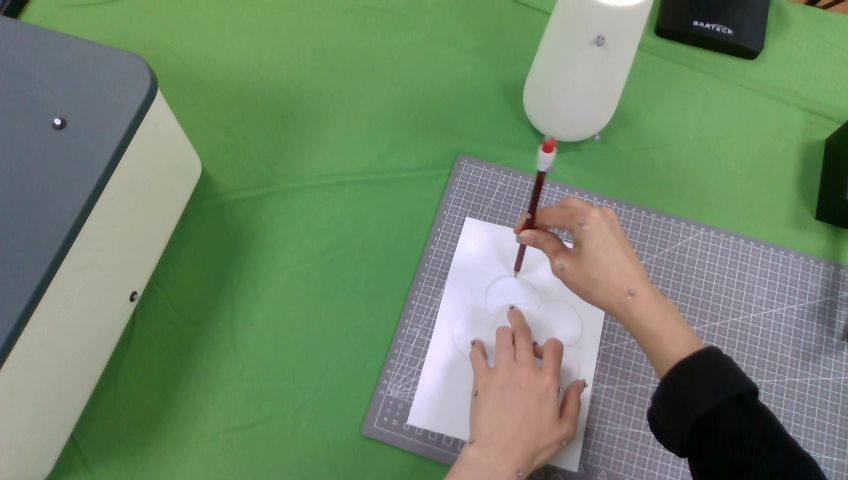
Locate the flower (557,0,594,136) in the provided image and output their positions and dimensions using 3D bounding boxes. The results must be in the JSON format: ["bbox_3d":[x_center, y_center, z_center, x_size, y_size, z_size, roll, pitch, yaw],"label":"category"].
[{"bbox_3d":[0.145,-0.225,0.499,0.044,0.365,0.038,10,52,7],"label":"flower"}]

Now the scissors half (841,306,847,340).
[{"bbox_3d":[0.429,0.012,0.570,0.012,0.040,0.175,22,89,22],"label":"scissors half"}]

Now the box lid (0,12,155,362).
[{"bbox_3d":[-0.391,-0.023,0.449,0.263,0.015,0.369,17,71,5],"label":"box lid"}]

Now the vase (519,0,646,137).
[{"bbox_3d":[0.148,-0.182,0.573,0.098,0.201,0.097,0,69,1],"label":"vase"}]

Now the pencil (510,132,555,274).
[{"bbox_3d":[0.087,-0.021,0.513,0.012,0.195,0.012,1,56,-1],"label":"pencil"}]

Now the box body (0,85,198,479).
[{"bbox_3d":[-0.392,0.005,0.519,0.254,0.161,0.362,17,71,6],"label":"box body"}]
